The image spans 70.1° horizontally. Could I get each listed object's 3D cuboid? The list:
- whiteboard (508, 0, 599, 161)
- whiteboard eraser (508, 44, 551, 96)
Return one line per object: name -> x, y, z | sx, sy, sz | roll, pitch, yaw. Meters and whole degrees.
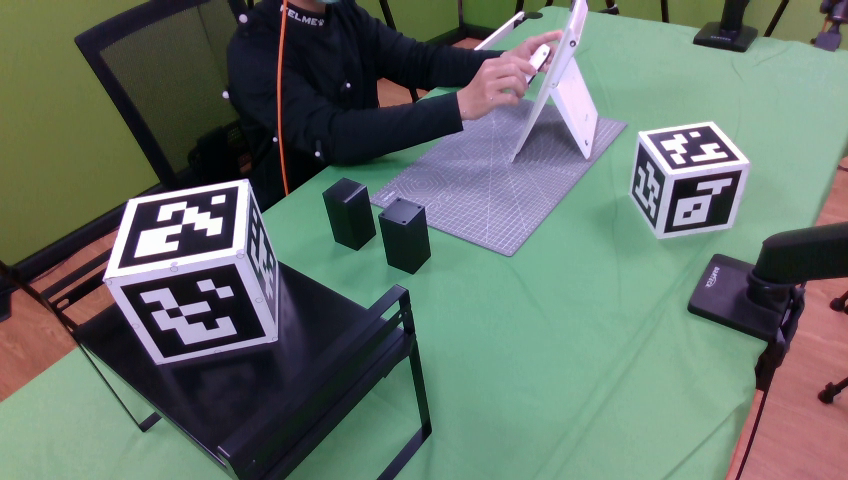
whiteboard -> 0.285, -0.289, 1.089 | 0.144, 0.305, 0.217 | 22, 45, 3
whiteboard eraser -> 0.183, -0.297, 1.056 | 0.019, 0.101, 0.041 | 32, 26, -16
